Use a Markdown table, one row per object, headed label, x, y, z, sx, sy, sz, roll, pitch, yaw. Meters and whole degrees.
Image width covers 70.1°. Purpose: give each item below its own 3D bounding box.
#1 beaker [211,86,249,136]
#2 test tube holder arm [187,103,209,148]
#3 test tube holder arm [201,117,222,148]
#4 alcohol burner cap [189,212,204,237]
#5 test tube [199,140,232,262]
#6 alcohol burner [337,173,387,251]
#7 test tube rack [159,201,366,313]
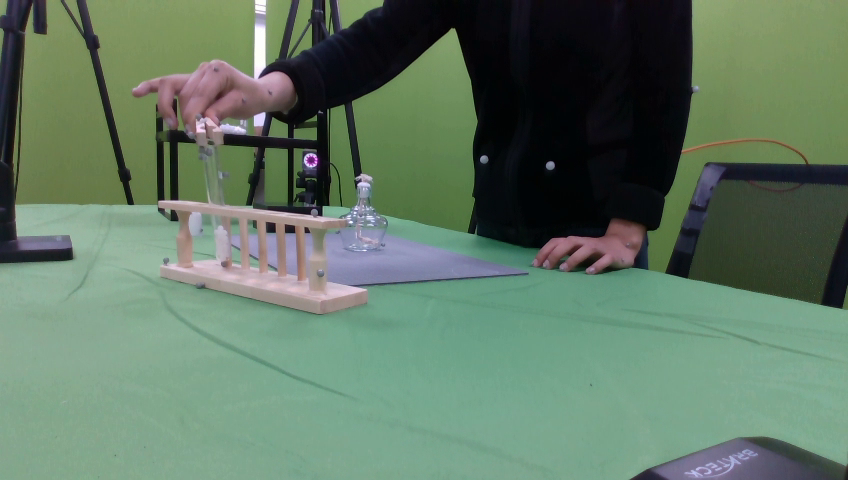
| label | x | y | z | sx | sy | sz | roll | pitch | yaw |
| --- | --- | --- | --- | --- | --- | --- | --- | --- | --- |
| beaker | -0.413 | -0.274 | 1.297 | 0.074 | 0.100 | 0.083 | -5 | 11 | -44 |
| test tube holder arm | -0.241 | -0.125 | 0.641 | 0.013 | 0.015 | 0.177 | 2 | 20 | -27 |
| test tube holder arm | -0.216 | -0.109 | 0.607 | 0.010 | 0.015 | 0.087 | 0 | 21 | -31 |
| alcohol burner cap | -0.390 | -0.029 | 1.025 | 0.034 | 0.048 | 0.034 | 2 | 8 | 0 |
| test tube | -0.215 | -0.036 | 0.629 | 0.017 | 0.150 | 0.017 | 4 | 39 | -3 |
| alcohol burner | -0.095 | -0.043 | 0.926 | 0.078 | 0.119 | 0.078 | 3 | 6 | 0 |
| test tube rack | -0.173 | 0.009 | 0.624 | 0.241 | 0.085 | 0.067 | 7 | 9 | 34 |
